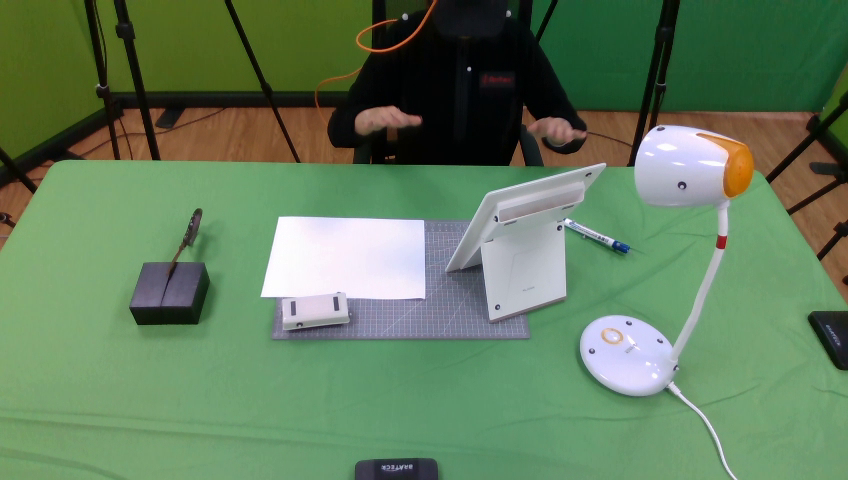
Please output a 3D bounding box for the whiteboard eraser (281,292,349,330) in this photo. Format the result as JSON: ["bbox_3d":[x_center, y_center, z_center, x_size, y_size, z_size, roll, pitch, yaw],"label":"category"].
[{"bbox_3d":[-0.189,0.124,1.045,0.113,0.042,0.055,-6,46,-10],"label":"whiteboard eraser"}]

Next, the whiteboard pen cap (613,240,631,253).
[{"bbox_3d":[0.393,0.012,1.207,0.033,0.018,0.018,26,50,28],"label":"whiteboard pen cap"}]

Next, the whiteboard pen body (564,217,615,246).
[{"bbox_3d":[0.346,-0.013,1.233,0.140,0.017,0.017,29,51,26],"label":"whiteboard pen body"}]

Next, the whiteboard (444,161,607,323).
[{"bbox_3d":[0.186,0.025,1.029,0.217,0.306,0.143,-14,68,-18],"label":"whiteboard"}]

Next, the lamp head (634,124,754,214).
[{"bbox_3d":[0.351,-0.089,0.775,0.112,0.113,0.122,-30,30,-28],"label":"lamp head"}]

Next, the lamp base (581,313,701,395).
[{"bbox_3d":[0.361,0.144,0.972,0.178,0.181,0.160,34,53,23],"label":"lamp base"}]

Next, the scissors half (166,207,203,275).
[{"bbox_3d":[-0.436,0.000,1.104,0.013,0.040,0.174,21,44,-14],"label":"scissors half"}]

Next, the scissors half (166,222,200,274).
[{"bbox_3d":[-0.444,0.014,1.116,0.013,0.040,0.174,17,27,-10],"label":"scissors half"}]
